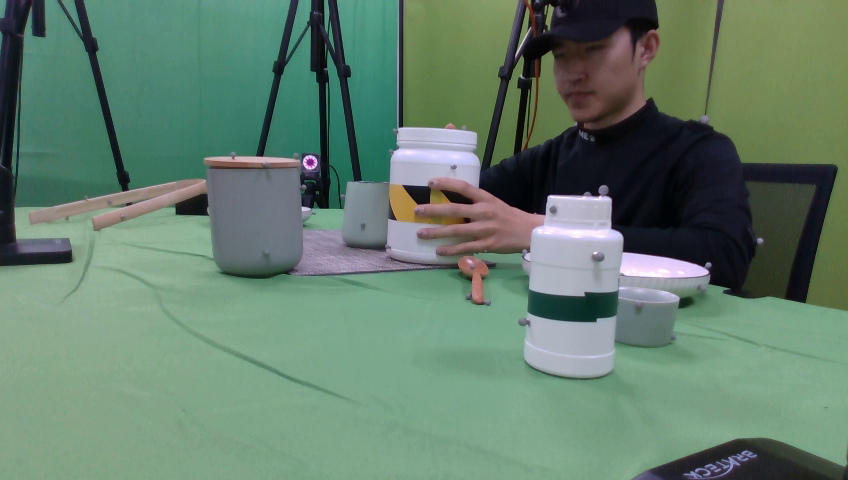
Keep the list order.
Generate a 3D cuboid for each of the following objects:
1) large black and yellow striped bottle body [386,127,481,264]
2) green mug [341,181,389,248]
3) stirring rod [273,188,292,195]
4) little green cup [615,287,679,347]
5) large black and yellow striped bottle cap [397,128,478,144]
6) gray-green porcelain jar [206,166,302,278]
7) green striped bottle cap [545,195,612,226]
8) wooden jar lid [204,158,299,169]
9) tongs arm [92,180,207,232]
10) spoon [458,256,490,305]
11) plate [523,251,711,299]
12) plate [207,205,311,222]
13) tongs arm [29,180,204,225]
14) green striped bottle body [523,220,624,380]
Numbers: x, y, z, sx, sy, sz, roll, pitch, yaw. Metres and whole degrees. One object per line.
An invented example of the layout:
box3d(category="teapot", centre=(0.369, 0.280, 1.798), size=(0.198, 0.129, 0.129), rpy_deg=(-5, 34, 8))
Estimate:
box3d(category="large black and yellow striped bottle body", centre=(0.014, -0.064, 0.865), size=(0.131, 0.184, 0.130), rpy_deg=(3, 7, 0))
box3d(category="green mug", centre=(-0.090, -0.044, 0.996), size=(0.093, 0.105, 0.125), rpy_deg=(1, 7, -9))
box3d(category="stirring rod", centre=(-0.354, -0.122, 1.519), size=(0.006, 0.014, 0.176), rpy_deg=(2, 7, 1))
box3d(category="little green cup", centre=(0.180, 0.064, 0.506), size=(0.061, 0.038, 0.061), rpy_deg=(2, 8, 0))
box3d(category="large black and yellow striped bottle cap", centre=(0.019, -0.146, 0.853), size=(0.115, 0.019, 0.115), rpy_deg=(2, 7, 0))
box3d(category="gray-green porcelain jar", centre=(-0.201, -0.024, 0.725), size=(0.106, 0.126, 0.106), rpy_deg=(-1, 9, 1))
box3d(category="green striped bottle cap", centre=(0.105, -0.020, 0.414), size=(0.044, 0.020, 0.044), rpy_deg=(2, 4, 0))
box3d(category="wooden jar lid", centre=(-0.202, -0.086, 0.714), size=(0.108, 0.020, 0.108), rpy_deg=(3, 11, 0))
box3d(category="tongs arm", centre=(-0.534, -0.076, 1.221), size=(0.028, 0.028, 0.388), rpy_deg=(-2, 15, 12))
box3d(category="spoon", centre=(0.059, 0.044, 0.695), size=(0.041, 0.021, 0.194), rpy_deg=(18, 7, 1))
box3d(category="plate", centre=(0.219, 0.041, 0.706), size=(0.209, 0.038, 0.209), rpy_deg=(2, 7, 0))
box3d(category="plate", centre=(-0.342, -0.050, 1.259), size=(0.208, 0.039, 0.207), rpy_deg=(2, 7, 0))
box3d(category="tongs arm", centre=(-0.609, -0.083, 1.245), size=(0.050, 0.026, 0.386), rpy_deg=(5, 16, 23))
box3d(category="green striped bottle body", centre=(0.104, 0.031, 0.422), size=(0.063, 0.119, 0.063), rpy_deg=(2, 8, 0))
